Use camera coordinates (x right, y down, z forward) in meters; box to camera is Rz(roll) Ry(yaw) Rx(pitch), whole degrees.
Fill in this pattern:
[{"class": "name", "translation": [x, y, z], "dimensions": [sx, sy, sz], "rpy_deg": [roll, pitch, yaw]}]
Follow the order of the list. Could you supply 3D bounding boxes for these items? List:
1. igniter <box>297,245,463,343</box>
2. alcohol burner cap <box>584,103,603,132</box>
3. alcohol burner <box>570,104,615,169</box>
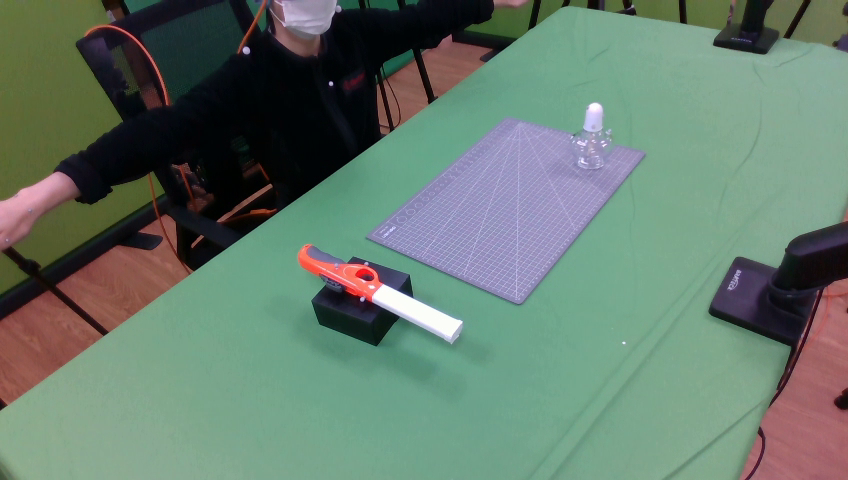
[{"class": "igniter", "translation": [-0.070, 0.068, 0.827], "dimensions": [0.274, 0.025, 0.057], "rpy_deg": [23, 49, 25]}, {"class": "alcohol burner cap", "translation": [0.295, -0.213, 1.047], "dimensions": [0.034, 0.048, 0.033], "rpy_deg": [-4, 38, 4]}, {"class": "alcohol burner", "translation": [0.299, -0.187, 1.071], "dimensions": [0.078, 0.119, 0.077], "rpy_deg": [-6, 41, 6]}]
